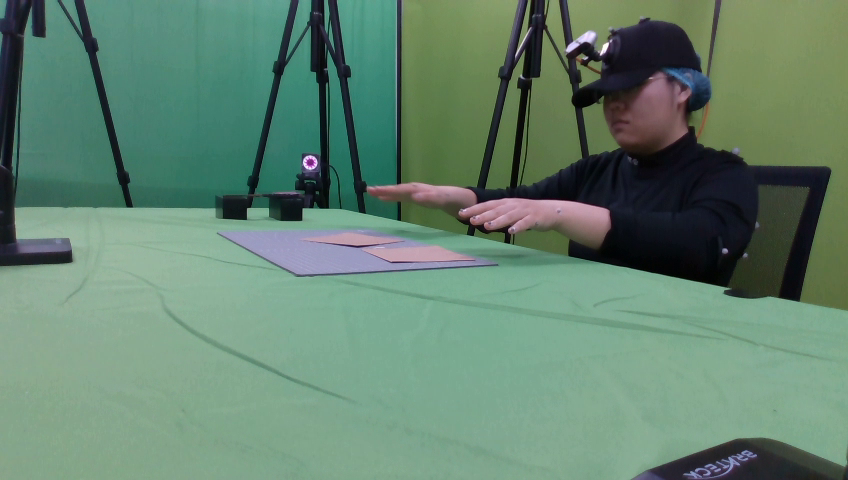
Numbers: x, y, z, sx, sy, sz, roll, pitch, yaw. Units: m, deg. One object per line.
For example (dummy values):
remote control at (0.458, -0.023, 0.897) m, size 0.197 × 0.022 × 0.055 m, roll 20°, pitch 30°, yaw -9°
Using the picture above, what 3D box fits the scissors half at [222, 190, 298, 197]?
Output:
scissors half at (-0.372, -0.105, 1.380) m, size 0.176 × 0.013 × 0.040 m, roll -6°, pitch 19°, yaw -38°

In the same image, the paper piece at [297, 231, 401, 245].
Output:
paper piece at (-0.127, -0.003, 1.052) m, size 0.135 × 0.004 × 0.136 m, roll 7°, pitch 8°, yaw 32°

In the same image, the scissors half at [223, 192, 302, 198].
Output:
scissors half at (-0.362, -0.100, 1.364) m, size 0.176 × 0.013 × 0.040 m, roll -2°, pitch 11°, yaw -23°

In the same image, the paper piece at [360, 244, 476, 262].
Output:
paper piece at (-0.012, 0.020, 0.913) m, size 0.136 × 0.008 × 0.137 m, roll -4°, pitch 9°, yaw -24°
